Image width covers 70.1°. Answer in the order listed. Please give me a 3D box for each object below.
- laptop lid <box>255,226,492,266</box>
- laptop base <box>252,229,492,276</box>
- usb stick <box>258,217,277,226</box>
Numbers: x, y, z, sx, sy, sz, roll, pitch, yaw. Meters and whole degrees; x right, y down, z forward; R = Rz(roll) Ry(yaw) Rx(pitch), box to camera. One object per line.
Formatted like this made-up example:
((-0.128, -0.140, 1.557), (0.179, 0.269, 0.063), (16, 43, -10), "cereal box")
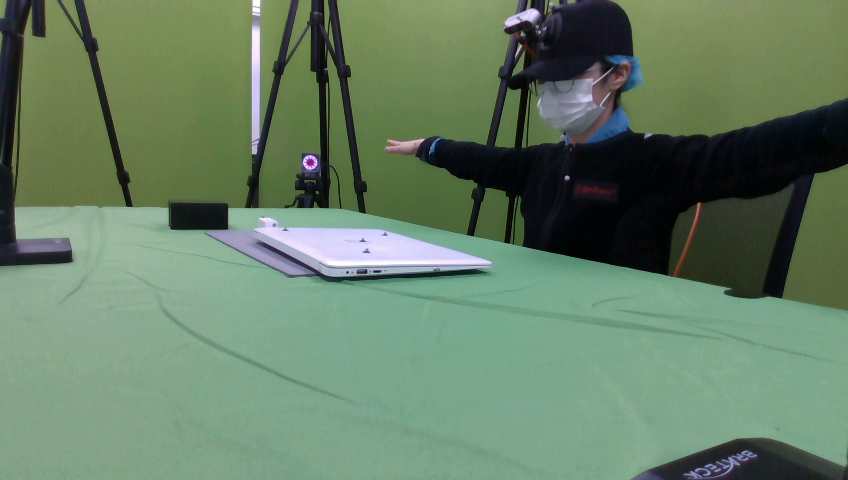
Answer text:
((-0.092, 0.003, 0.888), (0.243, 0.013, 0.355), (1, 8, -28), "laptop lid")
((-0.094, 0.015, 0.889), (0.237, 0.023, 0.352), (2, 7, -30), "laptop base")
((-0.261, -0.022, 1.016), (0.021, 0.027, 0.059), (0, 13, -29), "usb stick")
